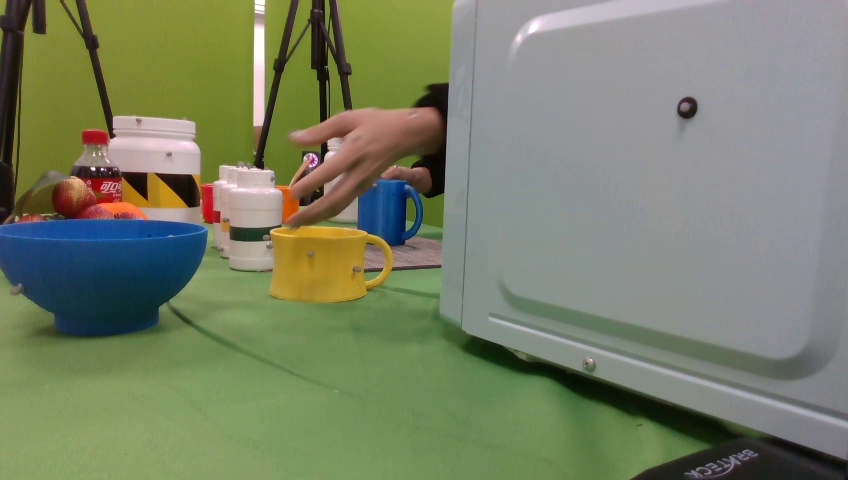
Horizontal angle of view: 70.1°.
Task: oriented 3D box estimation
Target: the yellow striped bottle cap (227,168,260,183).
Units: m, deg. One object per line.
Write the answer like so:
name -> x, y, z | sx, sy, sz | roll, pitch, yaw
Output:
yellow striped bottle cap -> -0.243, -0.087, 0.818 | 0.044, 0.018, 0.044 | 3, 6, 0

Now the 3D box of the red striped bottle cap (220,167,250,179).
red striped bottle cap -> -0.281, -0.100, 0.901 | 0.044, 0.017, 0.044 | -1, 5, 0

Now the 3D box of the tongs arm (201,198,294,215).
tongs arm -> -0.423, -0.085, 1.472 | 0.050, 0.026, 0.386 | 2, 6, 22

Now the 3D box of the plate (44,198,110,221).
plate -> -0.617, -0.056, 1.179 | 0.209, 0.038, 0.209 | 3, 7, 0

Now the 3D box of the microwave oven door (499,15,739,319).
microwave oven door -> 0.216, -0.065, 0.602 | 0.358, 0.243, 0.039 | -4, 11, -41

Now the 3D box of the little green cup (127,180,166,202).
little green cup -> -0.486, -0.086, 1.061 | 0.061, 0.038, 0.061 | 1, 7, 0

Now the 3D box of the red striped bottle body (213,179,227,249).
red striped bottle body -> -0.284, -0.048, 0.909 | 0.063, 0.119, 0.063 | 3, 10, 0

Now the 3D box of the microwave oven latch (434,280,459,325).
microwave oven latch -> 0.044, 0.045, 0.470 | 0.079, 0.029, 0.030 | -2, 8, -39

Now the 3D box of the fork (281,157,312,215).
fork -> -0.289, -0.116, 1.321 | 0.028, 0.019, 0.207 | 6, 51, 19

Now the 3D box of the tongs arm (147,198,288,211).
tongs arm -> -0.503, -0.091, 1.513 | 0.028, 0.028, 0.390 | 0, 4, 38

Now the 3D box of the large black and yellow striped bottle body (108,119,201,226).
large black and yellow striped bottle body -> -0.412, -0.088, 0.930 | 0.131, 0.184, 0.130 | 3, 7, 0

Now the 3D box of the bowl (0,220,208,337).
bowl -> -0.251, 0.029, 0.479 | 0.151, 0.077, 0.151 | 2, 7, 0

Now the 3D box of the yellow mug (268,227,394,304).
yellow mug -> -0.094, 0.024, 0.629 | 0.131, 0.064, 0.099 | 0, 8, -22

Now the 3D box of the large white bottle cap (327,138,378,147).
large white bottle cap -> -0.160, -0.218, 1.357 | 0.115, 0.018, 0.115 | 2, 8, 0

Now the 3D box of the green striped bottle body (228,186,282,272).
green striped bottle body -> -0.208, -0.023, 0.745 | 0.063, 0.119, 0.063 | 2, 7, 0

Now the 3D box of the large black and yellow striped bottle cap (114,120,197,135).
large black and yellow striped bottle cap -> -0.407, -0.171, 0.920 | 0.115, 0.019, 0.115 | 2, 9, 0

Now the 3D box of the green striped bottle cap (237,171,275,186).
green striped bottle cap -> -0.206, -0.075, 0.738 | 0.044, 0.020, 0.044 | 1, 8, 0

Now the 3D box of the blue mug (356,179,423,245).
blue mug -> -0.056, -0.046, 1.005 | 0.116, 0.106, 0.082 | 6, 8, 21

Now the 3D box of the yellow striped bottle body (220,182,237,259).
yellow striped bottle body -> -0.246, -0.036, 0.825 | 0.063, 0.120, 0.063 | 3, 8, 0

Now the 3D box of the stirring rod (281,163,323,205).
stirring rod -> -0.278, -0.105, 1.293 | 0.176, 0.006, 0.014 | -47, 25, -18

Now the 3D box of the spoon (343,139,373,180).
spoon -> -0.090, -0.094, 1.024 | 0.021, 0.193, 0.042 | -34, -16, 28

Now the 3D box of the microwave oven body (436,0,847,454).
microwave oven body -> 0.279, -0.040, 0.464 | 0.444, 0.260, 0.324 | -3, 9, -41

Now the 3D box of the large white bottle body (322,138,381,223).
large white bottle body -> -0.163, -0.135, 1.368 | 0.131, 0.184, 0.130 | 2, 7, 0
